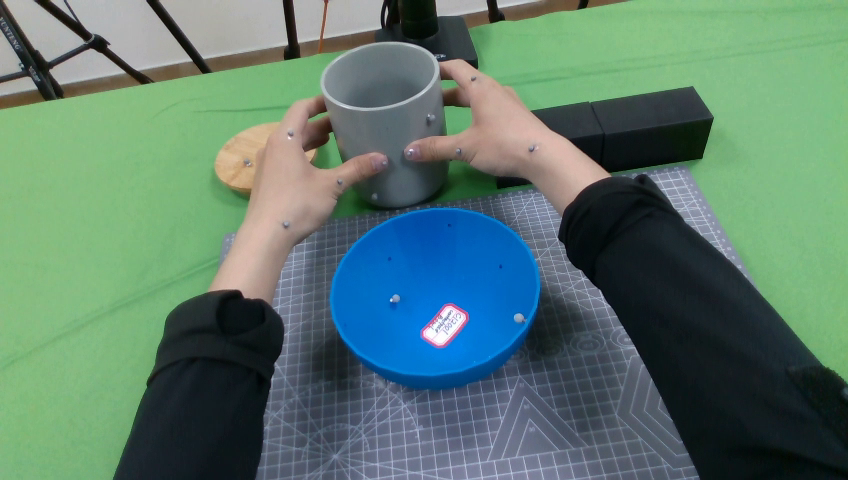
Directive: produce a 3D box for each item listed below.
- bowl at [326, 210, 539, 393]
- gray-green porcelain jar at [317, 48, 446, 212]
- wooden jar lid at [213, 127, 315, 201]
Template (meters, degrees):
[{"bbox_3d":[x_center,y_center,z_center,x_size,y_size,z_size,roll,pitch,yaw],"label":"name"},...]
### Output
[{"bbox_3d":[0.010,0.057,0.455,0.151,0.077,0.150,-4,48,5],"label":"bowl"},{"bbox_3d":[-0.034,-0.098,0.572,0.106,0.128,0.105,-4,48,5],"label":"gray-green porcelain jar"},{"bbox_3d":[-0.170,-0.080,0.648,0.108,0.021,0.107,-3,48,3],"label":"wooden jar lid"}]
